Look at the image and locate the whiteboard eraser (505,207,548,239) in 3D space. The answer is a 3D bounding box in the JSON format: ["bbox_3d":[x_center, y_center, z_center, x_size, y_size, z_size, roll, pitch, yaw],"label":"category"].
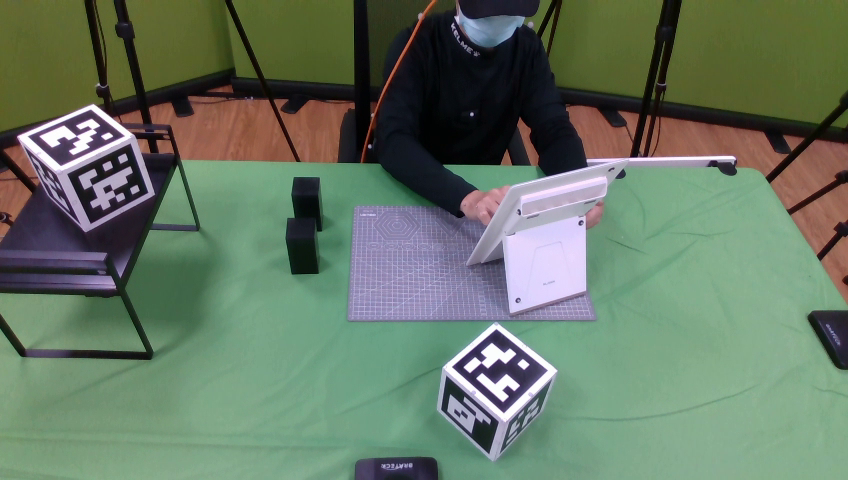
[{"bbox_3d":[0.188,-0.032,1.114,0.041,0.101,0.019,-9,70,-38],"label":"whiteboard eraser"}]

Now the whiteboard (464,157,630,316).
[{"bbox_3d":[0.224,0.015,1.042,0.217,0.306,0.143,-13,68,-17],"label":"whiteboard"}]
